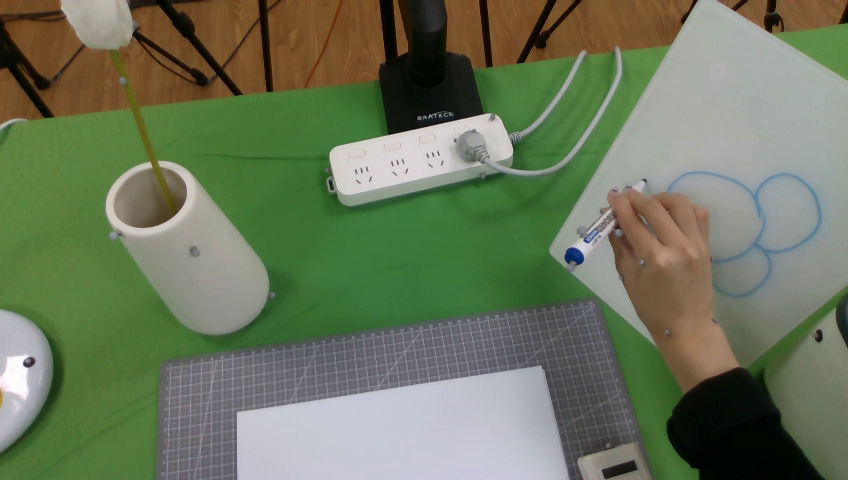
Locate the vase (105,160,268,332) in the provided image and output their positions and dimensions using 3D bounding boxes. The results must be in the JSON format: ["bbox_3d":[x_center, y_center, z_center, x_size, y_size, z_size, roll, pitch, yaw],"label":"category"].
[{"bbox_3d":[-0.211,0.011,0.554,0.098,0.201,0.097,-1,62,1],"label":"vase"}]

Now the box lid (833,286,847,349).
[{"bbox_3d":[0.470,0.176,0.406,0.263,0.015,0.368,-9,64,-5],"label":"box lid"}]

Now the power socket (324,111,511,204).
[{"bbox_3d":[-0.005,-0.097,0.705,0.227,0.033,0.071,-13,64,-7],"label":"power socket"}]

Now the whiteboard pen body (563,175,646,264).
[{"bbox_3d":[0.154,-0.022,0.501,0.017,0.017,0.140,37,51,18],"label":"whiteboard pen body"}]

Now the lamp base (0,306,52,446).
[{"bbox_3d":[-0.455,0.096,0.518,0.178,0.182,0.160,21,64,14],"label":"lamp base"}]

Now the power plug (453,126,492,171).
[{"bbox_3d":[0.052,-0.095,0.678,0.035,0.053,0.072,-4,64,-2],"label":"power plug"}]

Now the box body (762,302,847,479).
[{"bbox_3d":[0.470,0.213,0.471,0.254,0.161,0.360,-9,63,-5],"label":"box body"}]

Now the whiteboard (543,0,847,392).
[{"bbox_3d":[0.288,-0.044,0.559,0.144,0.307,0.215,-30,64,-36],"label":"whiteboard"}]

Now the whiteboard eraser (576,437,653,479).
[{"bbox_3d":[0.177,0.233,0.525,0.056,0.042,0.111,-12,63,-9],"label":"whiteboard eraser"}]

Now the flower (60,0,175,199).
[{"bbox_3d":[-0.208,-0.044,0.490,0.038,0.365,0.043,-19,45,-17],"label":"flower"}]
